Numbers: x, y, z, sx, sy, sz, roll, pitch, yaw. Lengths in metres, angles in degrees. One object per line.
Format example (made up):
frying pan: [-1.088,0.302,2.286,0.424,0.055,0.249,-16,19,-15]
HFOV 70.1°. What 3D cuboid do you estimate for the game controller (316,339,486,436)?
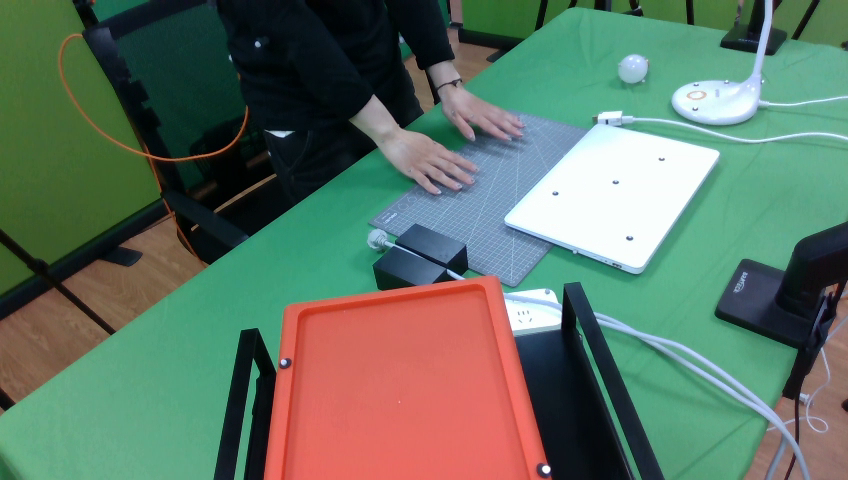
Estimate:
game controller: [-0.020,0.119,0.533,0.155,0.052,0.096,-3,40,1]

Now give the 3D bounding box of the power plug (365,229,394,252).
power plug: [-0.067,0.010,0.954,0.035,0.053,0.072,-41,53,2]

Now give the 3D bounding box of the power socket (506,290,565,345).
power socket: [0.081,0.112,0.822,0.227,0.033,0.072,-7,41,0]

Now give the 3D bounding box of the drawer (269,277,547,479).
drawer: [-0.018,0.137,0.493,0.195,0.073,0.210,-7,41,-1]

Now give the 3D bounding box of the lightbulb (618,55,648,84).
lightbulb: [0.464,-0.376,1.324,0.059,0.059,0.108,22,33,30]

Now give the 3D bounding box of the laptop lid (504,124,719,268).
laptop lid: [0.323,-0.093,1.021,0.240,0.013,0.358,23,49,32]

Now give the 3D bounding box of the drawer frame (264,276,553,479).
drawer frame: [-0.016,0.137,0.490,0.202,0.083,0.212,-8,41,-2]

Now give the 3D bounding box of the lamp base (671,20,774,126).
lamp base: [0.581,-0.332,1.154,0.179,0.181,0.160,2,42,7]

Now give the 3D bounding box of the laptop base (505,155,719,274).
laptop base: [0.326,-0.083,1.028,0.233,0.023,0.355,21,48,32]

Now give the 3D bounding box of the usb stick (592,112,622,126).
usb stick: [0.360,-0.239,1.197,0.059,0.021,0.027,4,43,27]
